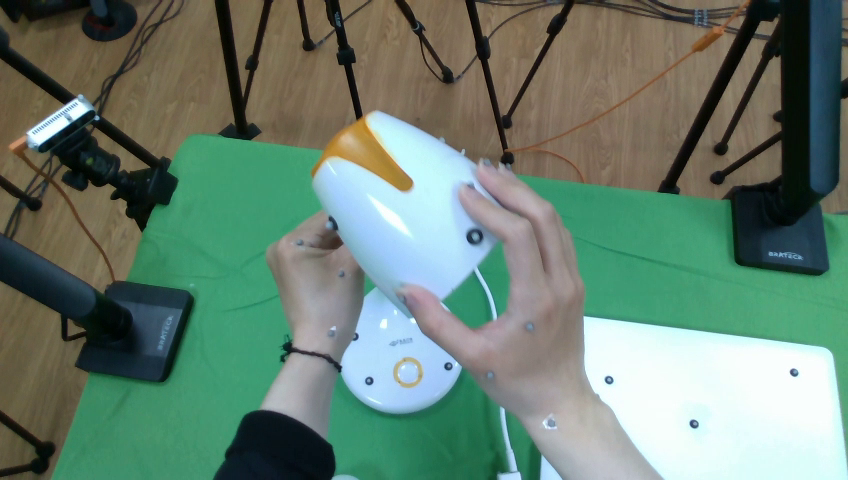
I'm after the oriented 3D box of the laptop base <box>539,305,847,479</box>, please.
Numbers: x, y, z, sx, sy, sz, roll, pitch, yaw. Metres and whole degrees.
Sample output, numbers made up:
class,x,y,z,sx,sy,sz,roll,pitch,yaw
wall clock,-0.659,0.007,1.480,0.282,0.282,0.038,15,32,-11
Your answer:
class,x,y,z,sx,sy,sz,roll,pitch,yaw
laptop base,0.320,0.212,0.731,0.354,0.023,0.234,7,69,3

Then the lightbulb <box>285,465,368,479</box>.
class,x,y,z,sx,sy,sz,roll,pitch,yaw
lightbulb,-0.112,0.283,0.683,0.107,0.060,0.059,0,65,17

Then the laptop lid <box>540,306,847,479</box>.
class,x,y,z,sx,sy,sz,roll,pitch,yaw
laptop lid,0.319,0.209,0.719,0.356,0.013,0.240,8,67,4

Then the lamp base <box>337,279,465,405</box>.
class,x,y,z,sx,sy,sz,roll,pitch,yaw
lamp base,-0.035,0.085,0.699,0.161,0.181,0.177,-21,64,-9

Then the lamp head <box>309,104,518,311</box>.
class,x,y,z,sx,sy,sz,roll,pitch,yaw
lamp head,-0.016,-0.030,0.411,0.123,0.112,0.112,42,72,-2

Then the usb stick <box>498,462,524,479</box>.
class,x,y,z,sx,sy,sz,roll,pitch,yaw
usb stick,0.102,0.286,0.693,0.027,0.021,0.059,-6,75,-3
